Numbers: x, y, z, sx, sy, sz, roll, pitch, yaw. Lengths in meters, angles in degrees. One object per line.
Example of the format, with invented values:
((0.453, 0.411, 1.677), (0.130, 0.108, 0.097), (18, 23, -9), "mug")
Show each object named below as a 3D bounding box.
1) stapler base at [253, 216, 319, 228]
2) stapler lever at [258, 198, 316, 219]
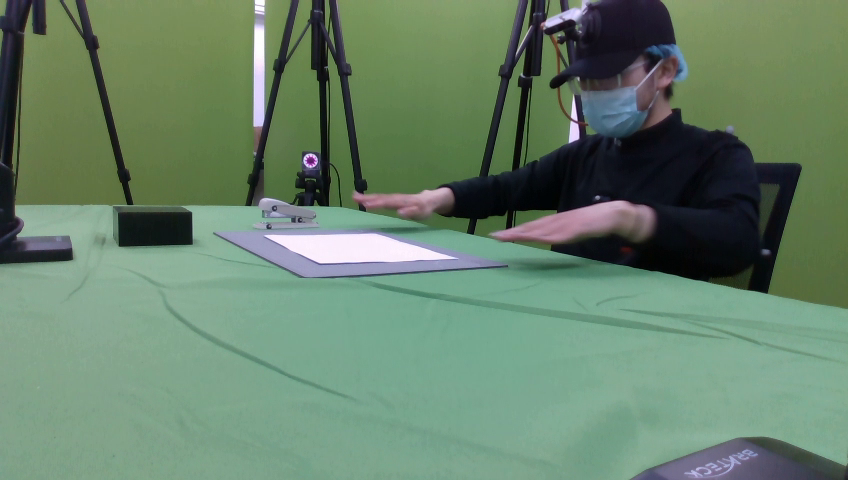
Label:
((-0.274, -0.037, 1.203), (0.131, 0.024, 0.041), (-1, 11, -40), "stapler base")
((-0.271, -0.062, 1.201), (0.119, 0.040, 0.026), (-1, 11, -40), "stapler lever")
